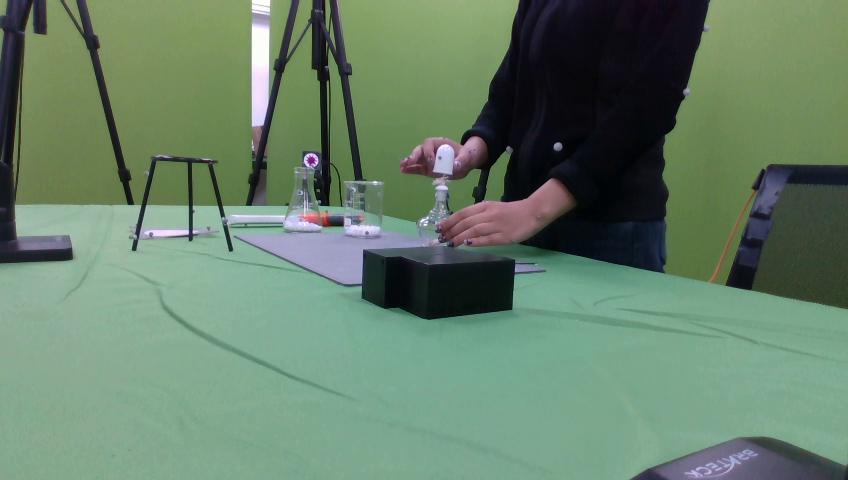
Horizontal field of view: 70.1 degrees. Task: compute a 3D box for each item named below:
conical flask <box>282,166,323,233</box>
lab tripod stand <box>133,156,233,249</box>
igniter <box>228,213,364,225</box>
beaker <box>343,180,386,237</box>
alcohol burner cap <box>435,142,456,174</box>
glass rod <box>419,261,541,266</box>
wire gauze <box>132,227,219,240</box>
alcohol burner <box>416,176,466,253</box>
[{"bbox_3d":[-0.225,-0.076,1.129,0.075,0.122,0.075,2,8,0],"label":"conical flask"},{"bbox_3d":[-0.342,-0.054,0.878,0.148,0.131,0.148,4,6,0],"label":"lab tripod stand"},{"bbox_3d":[-0.252,-0.043,1.227,0.278,0.025,0.057,-2,-3,-32],"label":"igniter"},{"bbox_3d":[-0.111,-0.058,1.090,0.083,0.100,0.074,7,8,34],"label":"beaker"},{"bbox_3d":[0.033,-0.127,0.932,0.034,0.048,0.034,1,-1,0],"label":"alcohol burner cap"},{"bbox_3d":[0.080,0.031,0.807,0.201,0.008,0.008,1,6,-32],"label":"glass rod"},{"bbox_3d":[-0.421,-0.014,1.024,0.122,0.011,0.124,-2,7,-34],"label":"wire gauze"},{"bbox_3d":[0.027,-0.040,0.934,0.078,0.119,0.078,3,9,0],"label":"alcohol burner"}]
